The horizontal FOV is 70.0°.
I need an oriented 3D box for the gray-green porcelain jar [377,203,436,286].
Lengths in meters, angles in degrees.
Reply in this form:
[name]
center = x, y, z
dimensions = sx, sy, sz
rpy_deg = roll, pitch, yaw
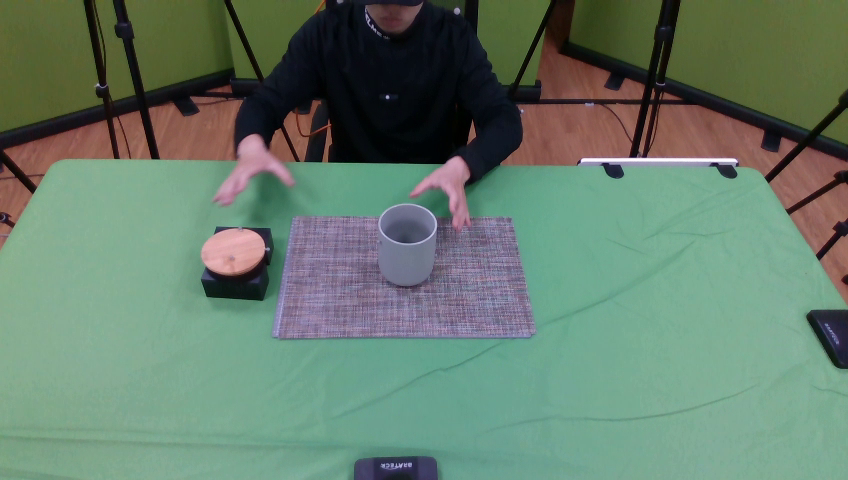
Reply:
[gray-green porcelain jar]
center = -0.033, 0.014, 1.106
dimensions = 0.106, 0.127, 0.105
rpy_deg = 2, 46, -2

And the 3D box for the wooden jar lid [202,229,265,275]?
[wooden jar lid]
center = -0.340, 0.023, 1.083
dimensions = 0.108, 0.021, 0.107
rpy_deg = 3, 45, -2
